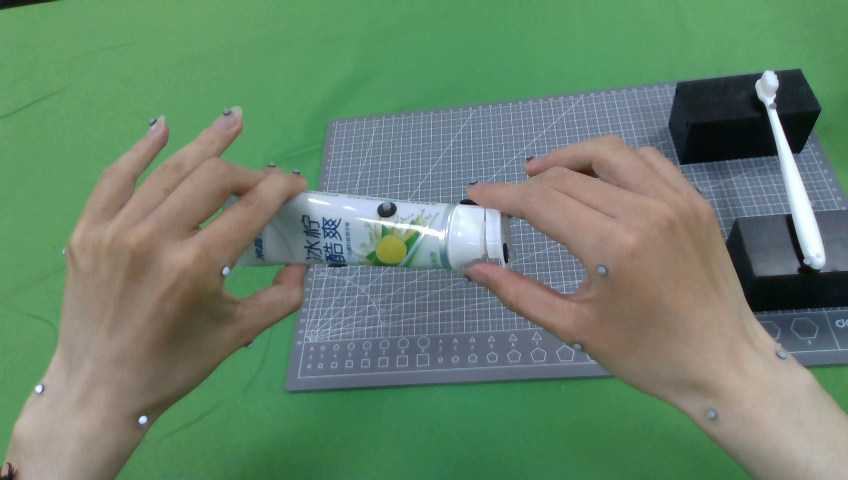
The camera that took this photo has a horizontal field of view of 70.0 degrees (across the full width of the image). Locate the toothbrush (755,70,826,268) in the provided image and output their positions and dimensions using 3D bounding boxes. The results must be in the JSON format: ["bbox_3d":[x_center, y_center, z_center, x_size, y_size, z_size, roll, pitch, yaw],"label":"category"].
[{"bbox_3d":[0.267,-0.059,0.443,0.014,0.017,0.180,7,57,1],"label":"toothbrush"}]

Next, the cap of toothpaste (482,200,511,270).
[{"bbox_3d":[0.037,-0.002,0.310,0.011,0.038,0.037,-4,54,17],"label":"cap of toothpaste"}]

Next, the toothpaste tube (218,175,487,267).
[{"bbox_3d":[-0.039,-0.008,0.333,0.164,0.055,0.034,2,18,17],"label":"toothpaste tube"}]
